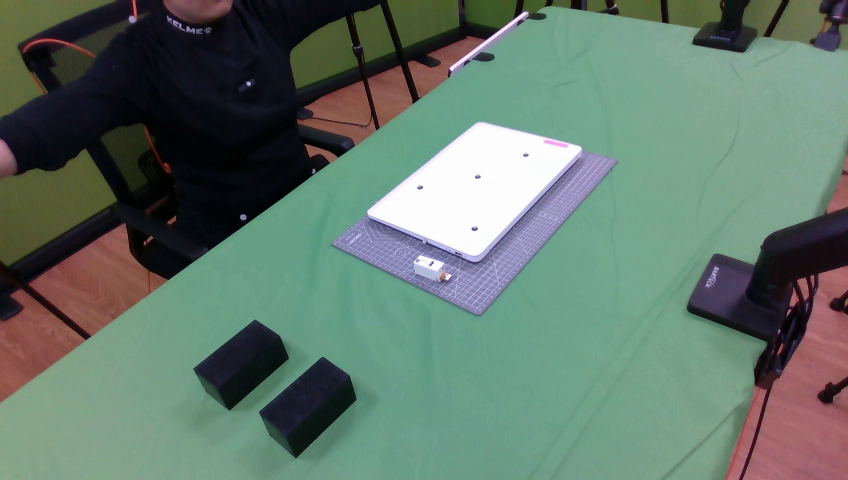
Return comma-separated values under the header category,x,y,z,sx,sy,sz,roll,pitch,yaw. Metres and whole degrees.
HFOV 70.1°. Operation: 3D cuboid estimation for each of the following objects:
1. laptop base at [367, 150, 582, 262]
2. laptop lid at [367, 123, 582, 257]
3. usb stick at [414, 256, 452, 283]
category,x,y,z,sx,sy,sz,roll,pitch,yaw
laptop base,0.098,-0.097,1.071,0.233,0.023,0.355,20,47,33
laptop lid,0.095,-0.106,1.065,0.239,0.013,0.358,23,48,34
usb stick,0.015,0.046,0.905,0.059,0.027,0.021,22,48,25
